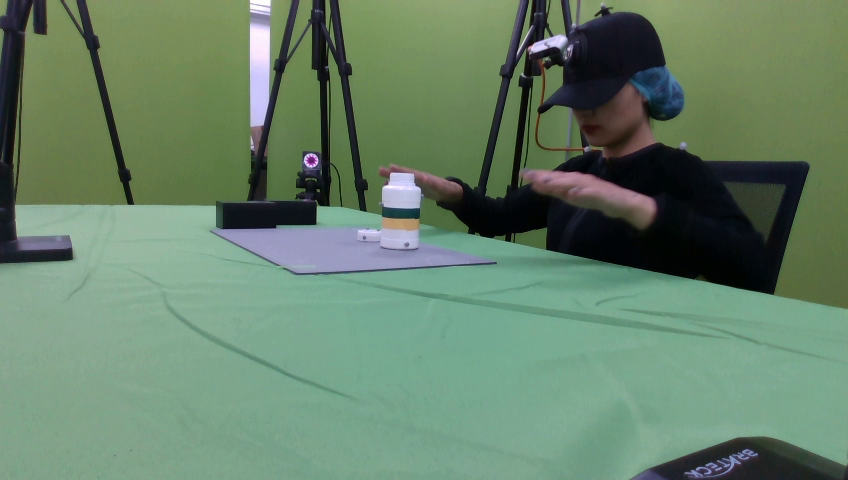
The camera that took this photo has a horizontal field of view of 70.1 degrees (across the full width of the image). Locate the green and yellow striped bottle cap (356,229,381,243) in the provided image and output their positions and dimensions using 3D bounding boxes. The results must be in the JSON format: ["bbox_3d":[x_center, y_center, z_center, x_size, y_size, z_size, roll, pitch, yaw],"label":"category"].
[{"bbox_3d":[-0.094,-0.007,1.040,0.045,0.020,0.045,4,7,0],"label":"green and yellow striped bottle cap"}]

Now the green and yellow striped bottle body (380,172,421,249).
[{"bbox_3d":[-0.037,-0.048,0.959,0.063,0.119,0.063,3,7,0],"label":"green and yellow striped bottle body"}]
